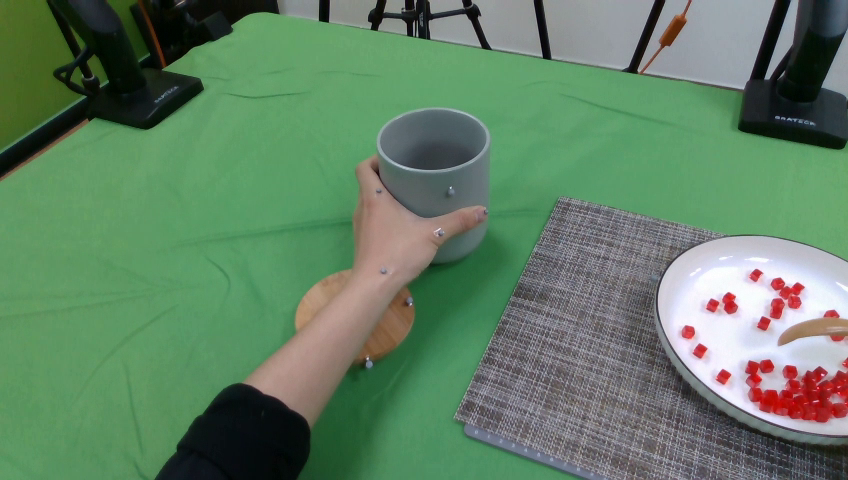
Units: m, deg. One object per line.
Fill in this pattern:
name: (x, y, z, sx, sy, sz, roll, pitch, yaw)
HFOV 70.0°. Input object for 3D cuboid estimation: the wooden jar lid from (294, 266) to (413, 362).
wooden jar lid: (-0.063, 0.068, 0.554, 0.108, 0.021, 0.107, 0, 45, 1)

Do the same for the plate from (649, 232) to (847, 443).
plate: (0.292, 0.077, 0.504, 0.207, 0.039, 0.205, -1, 44, 2)

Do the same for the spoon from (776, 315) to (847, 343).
spoon: (0.331, 0.059, 0.404, 0.042, 0.193, 0.021, -7, 86, -30)

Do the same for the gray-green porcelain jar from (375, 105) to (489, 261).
gray-green porcelain jar: (0.010, -0.051, 0.595, 0.106, 0.127, 0.105, -1, 44, 2)
